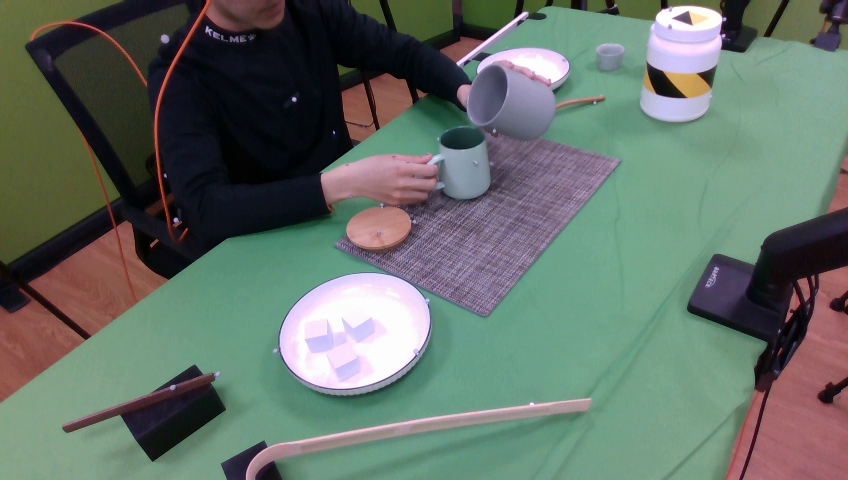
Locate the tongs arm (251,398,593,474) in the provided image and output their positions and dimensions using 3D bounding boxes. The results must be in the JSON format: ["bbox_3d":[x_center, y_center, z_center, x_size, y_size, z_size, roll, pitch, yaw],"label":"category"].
[{"bbox_3d":[0.008,0.212,0.675,0.389,0.028,0.028,-5,46,-11],"label":"tongs arm"}]

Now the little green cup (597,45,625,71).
[{"bbox_3d":[0.423,-0.413,1.375,0.061,0.039,0.061,-3,41,3],"label":"little green cup"}]

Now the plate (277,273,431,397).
[{"bbox_3d":[-0.091,0.129,0.821,0.207,0.039,0.206,-4,40,4],"label":"plate"}]

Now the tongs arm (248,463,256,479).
[{"bbox_3d":[0.012,0.262,0.615,0.385,0.026,0.050,2,42,-2],"label":"tongs arm"}]

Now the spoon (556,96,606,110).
[{"bbox_3d":[0.291,-0.277,1.249,0.194,0.022,0.041,-17,23,-11],"label":"spoon"}]

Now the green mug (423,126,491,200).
[{"bbox_3d":[0.055,-0.125,1.039,0.126,0.105,0.091,-26,44,-20],"label":"green mug"}]

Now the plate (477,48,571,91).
[{"bbox_3d":[0.223,-0.371,1.357,0.209,0.038,0.208,-4,41,4],"label":"plate"}]

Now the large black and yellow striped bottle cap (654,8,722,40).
[{"bbox_3d":[0.483,-0.397,1.108,0.115,0.019,0.114,-3,41,3],"label":"large black and yellow striped bottle cap"}]

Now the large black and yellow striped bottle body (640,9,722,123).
[{"bbox_3d":[0.493,-0.334,1.161,0.131,0.185,0.130,-4,41,4],"label":"large black and yellow striped bottle body"}]

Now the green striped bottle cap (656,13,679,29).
[{"bbox_3d":[0.515,-0.463,1.278,0.044,0.020,0.044,-6,42,6],"label":"green striped bottle cap"}]

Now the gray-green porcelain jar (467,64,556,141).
[{"bbox_3d":[0.154,-0.231,1.037,0.127,0.106,0.105,9,29,-36],"label":"gray-green porcelain jar"}]

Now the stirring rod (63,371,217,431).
[{"bbox_3d":[-0.337,0.192,0.723,0.177,0.014,0.005,-18,43,-12],"label":"stirring rod"}]

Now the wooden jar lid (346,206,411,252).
[{"bbox_3d":[-0.074,-0.017,0.996,0.108,0.021,0.108,-3,39,3],"label":"wooden jar lid"}]

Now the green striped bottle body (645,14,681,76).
[{"bbox_3d":[0.520,-0.424,1.312,0.063,0.120,0.063,-4,41,4],"label":"green striped bottle body"}]
